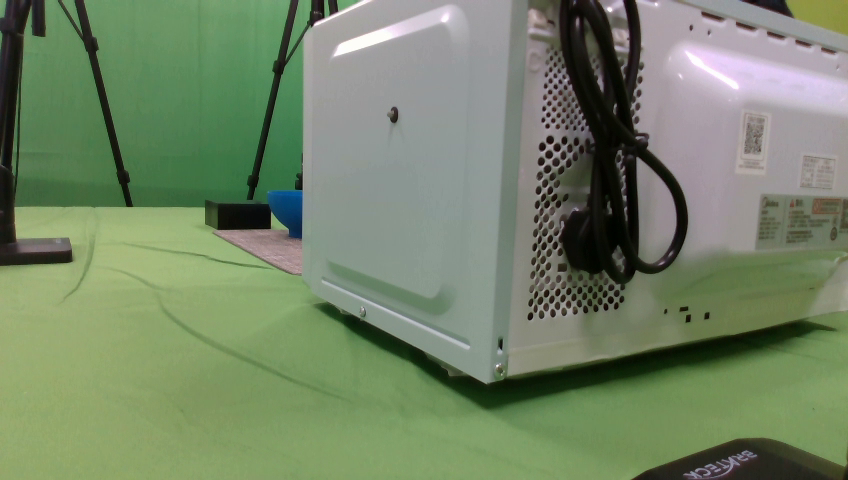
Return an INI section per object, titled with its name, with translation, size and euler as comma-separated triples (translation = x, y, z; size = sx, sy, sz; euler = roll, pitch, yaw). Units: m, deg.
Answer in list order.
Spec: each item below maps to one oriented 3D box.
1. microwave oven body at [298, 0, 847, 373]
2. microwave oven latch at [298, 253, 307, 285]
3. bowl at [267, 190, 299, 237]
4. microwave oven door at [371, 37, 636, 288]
[microwave oven body]
translation = 0.151, -0.055, 0.543
size = 0.444, 0.260, 0.324
euler = -2, 7, -33
[microwave oven latch]
translation = -0.082, 0.027, 0.583
size = 0.079, 0.029, 0.030
euler = -2, 8, -33
[bowl]
translation = -0.202, -0.046, 1.070
size = 0.151, 0.077, 0.151
euler = 3, 7, 0
[microwave oven door]
translation = 0.109, -0.080, 0.686
size = 0.358, 0.243, 0.039
euler = -2, 9, -33
